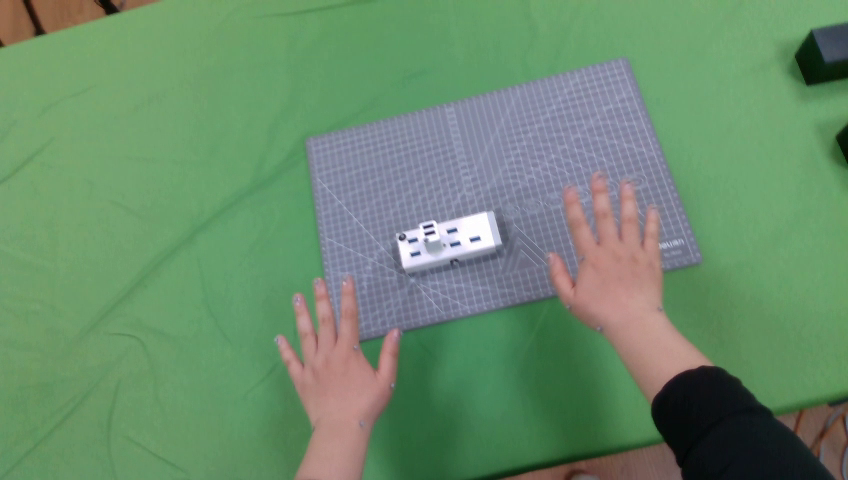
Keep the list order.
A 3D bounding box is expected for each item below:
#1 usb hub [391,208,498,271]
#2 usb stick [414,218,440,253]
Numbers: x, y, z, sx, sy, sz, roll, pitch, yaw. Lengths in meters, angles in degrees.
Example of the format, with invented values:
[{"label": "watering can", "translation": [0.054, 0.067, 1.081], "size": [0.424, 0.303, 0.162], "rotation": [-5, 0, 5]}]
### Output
[{"label": "usb hub", "translation": [0.025, -0.001, 0.749], "size": [0.125, 0.025, 0.049], "rotation": [-14, 69, 3]}, {"label": "usb stick", "translation": [0.004, -0.003, 0.722], "size": [0.021, 0.059, 0.027], "rotation": [-17, 67, 3]}]
